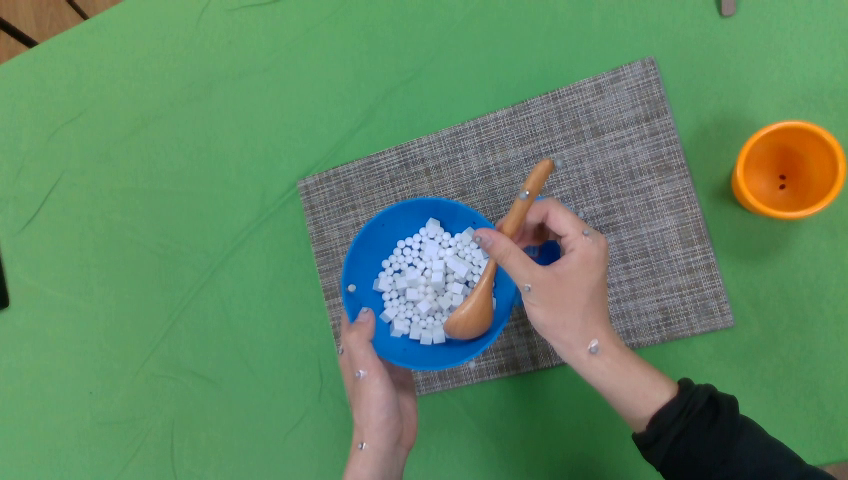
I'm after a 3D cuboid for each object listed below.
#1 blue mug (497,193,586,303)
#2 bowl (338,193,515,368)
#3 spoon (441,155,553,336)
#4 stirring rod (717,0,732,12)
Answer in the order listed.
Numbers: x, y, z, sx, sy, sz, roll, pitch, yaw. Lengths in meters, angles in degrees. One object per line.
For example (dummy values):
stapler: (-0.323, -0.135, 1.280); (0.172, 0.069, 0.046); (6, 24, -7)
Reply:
blue mug: (0.119, 0.012, 0.637); (0.082, 0.106, 0.116); (23, 95, 17)
bowl: (0.003, 0.040, 0.549); (0.151, 0.077, 0.150); (0, 79, 0)
spoon: (0.055, 0.013, 0.470); (0.042, 0.021, 0.195); (8, 127, -15)
stirring rod: (0.302, -0.324, 0.612); (0.014, 0.006, 0.177); (-8, 108, 11)
